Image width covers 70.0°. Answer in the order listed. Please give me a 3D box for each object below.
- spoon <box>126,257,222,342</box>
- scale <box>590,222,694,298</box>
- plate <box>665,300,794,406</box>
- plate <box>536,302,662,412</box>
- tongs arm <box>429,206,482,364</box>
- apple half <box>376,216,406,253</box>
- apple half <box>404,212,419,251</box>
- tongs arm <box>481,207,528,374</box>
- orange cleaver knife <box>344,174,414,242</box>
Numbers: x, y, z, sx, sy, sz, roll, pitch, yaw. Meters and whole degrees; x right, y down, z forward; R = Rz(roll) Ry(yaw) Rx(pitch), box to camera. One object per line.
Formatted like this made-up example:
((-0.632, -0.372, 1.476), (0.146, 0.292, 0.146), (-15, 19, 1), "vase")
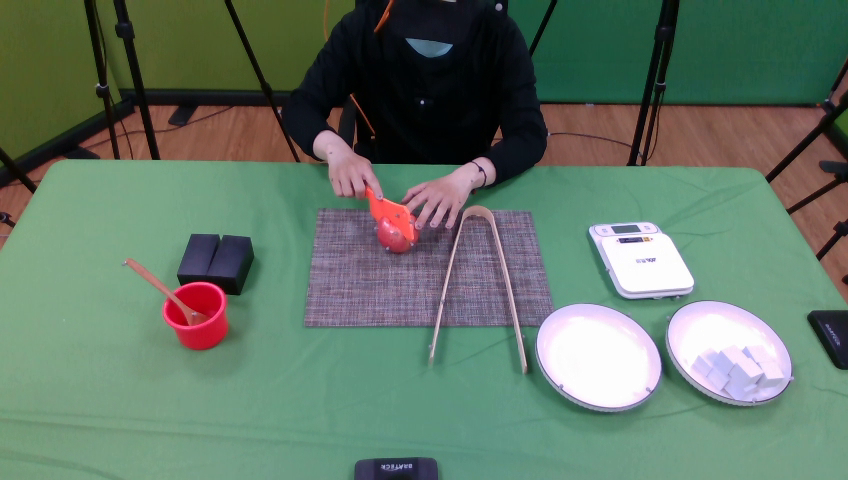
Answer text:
((-0.408, 0.096, 0.990), (0.194, 0.021, 0.041), (50, 53, -18), "spoon")
((0.424, 0.031, 1.189), (0.149, 0.032, 0.199), (-3, 46, -7), "scale")
((0.513, 0.194, 1.034), (0.208, 0.039, 0.206), (2, 46, -2), "plate")
((0.288, 0.197, 1.016), (0.209, 0.038, 0.208), (2, 46, -2), "plate")
((0.064, 0.069, 1.124), (0.051, 0.026, 0.382), (8, 45, 5), "tongs arm")
((-0.069, -0.002, 1.154), (0.033, 0.082, 0.081), (-34, 57, -28), "apple half")
((-0.039, -0.022, 1.175), (0.053, 0.075, 0.080), (-28, 51, -32), "apple half")
((0.149, 0.077, 1.124), (0.028, 0.028, 0.385), (-5, 46, -2), "tongs arm")
((-0.088, -0.064, 1.161), (0.012, 0.077, 0.210), (-28, 44, -31), "orange cleaver knife")
